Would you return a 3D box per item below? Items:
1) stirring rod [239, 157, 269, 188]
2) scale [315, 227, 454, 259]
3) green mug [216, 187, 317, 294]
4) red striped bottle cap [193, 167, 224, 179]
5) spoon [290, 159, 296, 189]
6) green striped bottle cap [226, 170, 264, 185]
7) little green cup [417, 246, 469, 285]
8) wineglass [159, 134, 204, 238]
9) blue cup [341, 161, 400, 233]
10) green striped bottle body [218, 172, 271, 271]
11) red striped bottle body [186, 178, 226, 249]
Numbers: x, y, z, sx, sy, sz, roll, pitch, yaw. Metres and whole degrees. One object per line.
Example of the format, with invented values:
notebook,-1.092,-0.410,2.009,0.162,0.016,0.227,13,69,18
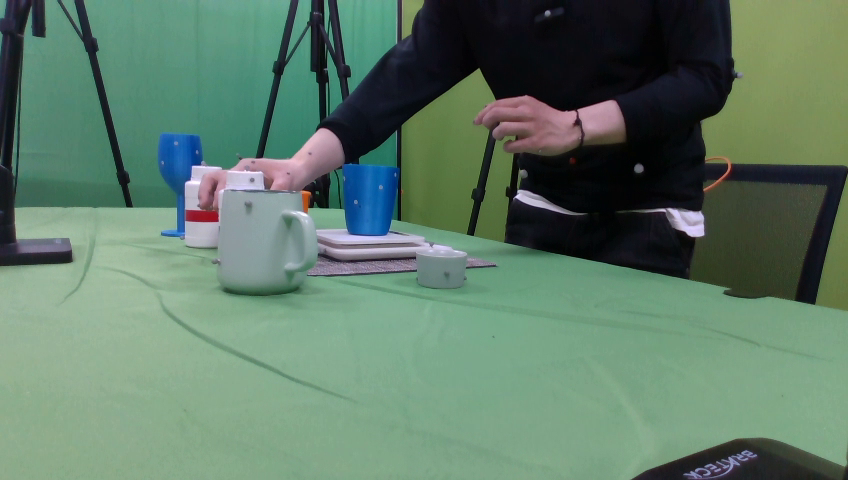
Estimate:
stirring rod,-0.309,-0.098,1.209,0.006,0.177,0.014,-39,29,-4
scale,-0.067,0.001,0.906,0.202,0.031,0.148,-2,8,-31
green mug,-0.157,0.000,0.629,0.124,0.105,0.093,7,9,37
red striped bottle cap,-0.329,-0.103,0.921,0.044,0.017,0.044,-1,10,0
spoon,-0.273,-0.102,1.252,0.042,0.193,0.021,7,-38,-17
green striped bottle cap,-0.222,-0.076,0.748,0.044,0.020,0.044,0,7,0
little green cup,0.021,0.029,0.701,0.061,0.038,0.061,1,6,0
wineglass,-0.415,-0.093,1.040,0.074,0.172,0.073,2,7,0
blue cup,-0.080,-0.062,0.883,0.093,0.100,0.092,3,4,0
green striped bottle body,-0.224,-0.025,0.755,0.063,0.119,0.063,2,8,0
red striped bottle body,-0.331,-0.049,0.928,0.063,0.119,0.063,2,7,0
